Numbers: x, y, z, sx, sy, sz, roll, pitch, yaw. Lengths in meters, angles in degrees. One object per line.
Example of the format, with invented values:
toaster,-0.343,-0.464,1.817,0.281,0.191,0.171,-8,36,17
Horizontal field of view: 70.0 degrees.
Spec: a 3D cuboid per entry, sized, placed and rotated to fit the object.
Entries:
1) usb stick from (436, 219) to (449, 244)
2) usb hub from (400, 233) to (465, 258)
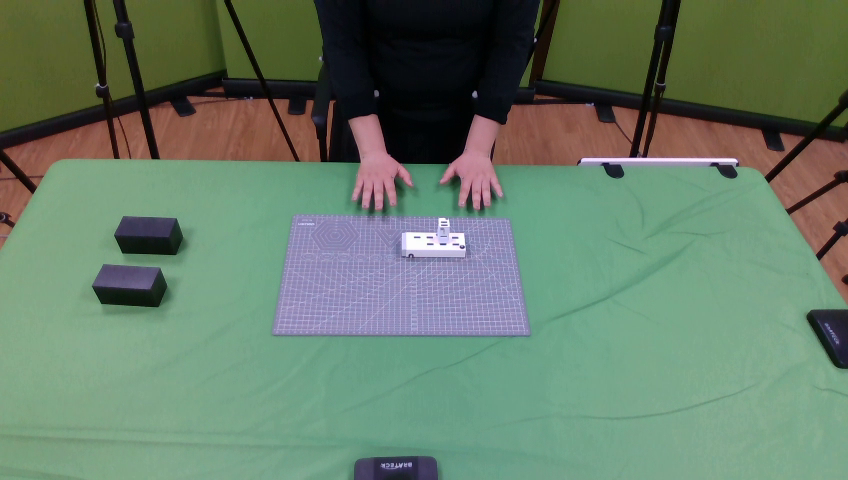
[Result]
usb stick,0.035,-0.012,1.166,0.021,0.059,0.027,-1,48,-6
usb hub,0.017,0.011,1.182,0.125,0.025,0.049,1,46,-3
